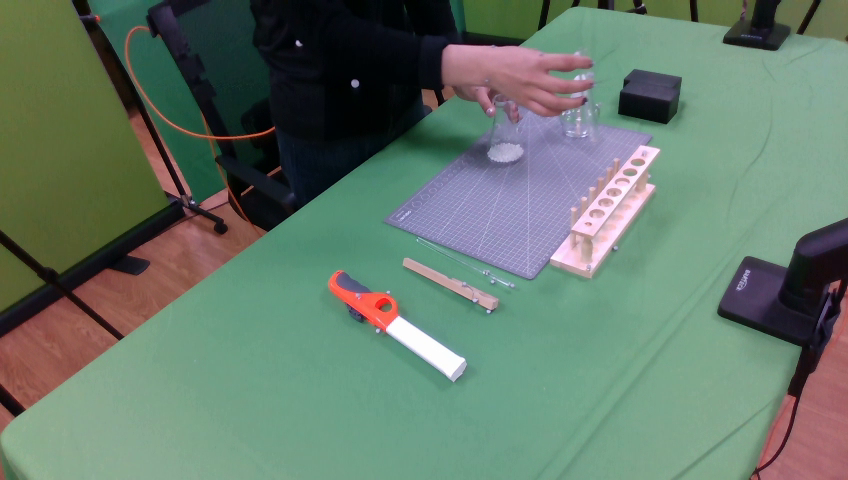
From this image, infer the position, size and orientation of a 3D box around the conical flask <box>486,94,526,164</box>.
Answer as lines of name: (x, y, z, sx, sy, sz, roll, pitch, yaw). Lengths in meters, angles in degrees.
conical flask: (0.149, -0.208, 1.119, 0.075, 0.122, 0.075, -6, 40, 5)

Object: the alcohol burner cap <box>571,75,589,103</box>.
alcohol burner cap: (0.294, -0.285, 1.132, 0.034, 0.048, 0.033, -4, 46, 5)

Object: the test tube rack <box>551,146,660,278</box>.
test tube rack: (0.286, -0.053, 0.943, 0.066, 0.085, 0.243, 21, 49, 32)

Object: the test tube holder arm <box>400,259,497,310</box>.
test tube holder arm: (0.033, 0.064, 0.902, 0.177, 0.015, 0.013, 23, 13, 32)

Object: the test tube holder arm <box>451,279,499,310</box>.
test tube holder arm: (0.071, 0.079, 0.882, 0.087, 0.015, 0.010, 24, 13, 34)

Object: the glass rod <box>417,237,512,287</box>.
glass rod: (0.059, 0.032, 0.945, 0.198, 0.008, 0.008, 26, 52, 38)

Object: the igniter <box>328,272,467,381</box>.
igniter: (-0.049, 0.114, 0.854, 0.274, 0.025, 0.057, 29, 63, 37)

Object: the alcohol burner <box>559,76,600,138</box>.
alcohol burner: (0.298, -0.258, 1.156, 0.078, 0.119, 0.077, -4, 39, 4)

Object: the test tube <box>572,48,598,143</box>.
test tube: (0.236, -0.207, 0.882, 0.017, 0.151, 0.017, -14, 37, 11)
